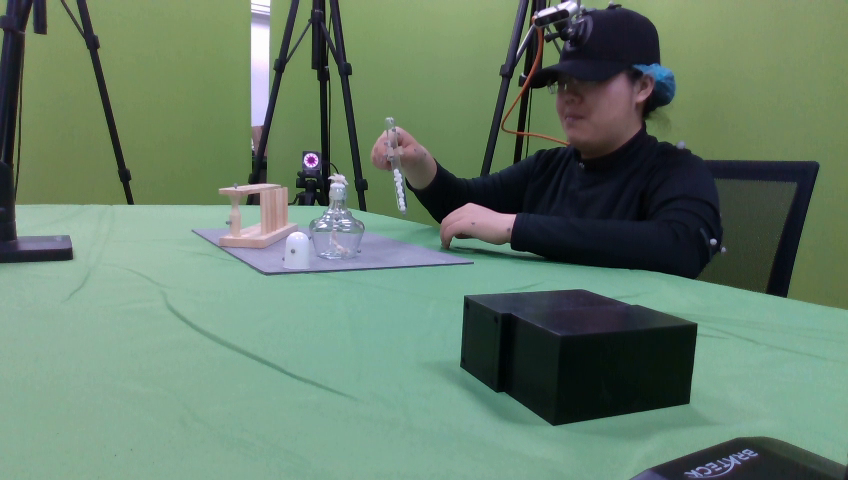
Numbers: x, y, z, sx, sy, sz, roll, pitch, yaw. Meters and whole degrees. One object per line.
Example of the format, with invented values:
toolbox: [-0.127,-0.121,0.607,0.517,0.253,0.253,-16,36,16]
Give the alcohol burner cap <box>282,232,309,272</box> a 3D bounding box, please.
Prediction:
alcohol burner cap: [-0.157,0.014,0.740,0.034,0.048,0.034,2,6,0]

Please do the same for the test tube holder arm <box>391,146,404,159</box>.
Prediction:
test tube holder arm: [-0.046,-0.140,0.973,0.010,0.015,0.087,-5,3,-15]

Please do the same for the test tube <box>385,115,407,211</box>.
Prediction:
test tube: [-0.044,-0.121,0.951,0.017,0.150,0.017,-8,4,1]

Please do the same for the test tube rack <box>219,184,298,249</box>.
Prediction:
test tube rack: [-0.266,-0.046,1.002,0.067,0.085,0.242,3,7,0]

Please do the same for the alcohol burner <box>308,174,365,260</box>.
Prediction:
alcohol burner: [-0.121,-0.033,0.841,0.078,0.119,0.078,3,5,0]

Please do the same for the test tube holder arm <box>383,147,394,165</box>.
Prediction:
test tube holder arm: [-0.060,-0.141,1.016,0.013,0.015,0.178,-4,3,-8]
